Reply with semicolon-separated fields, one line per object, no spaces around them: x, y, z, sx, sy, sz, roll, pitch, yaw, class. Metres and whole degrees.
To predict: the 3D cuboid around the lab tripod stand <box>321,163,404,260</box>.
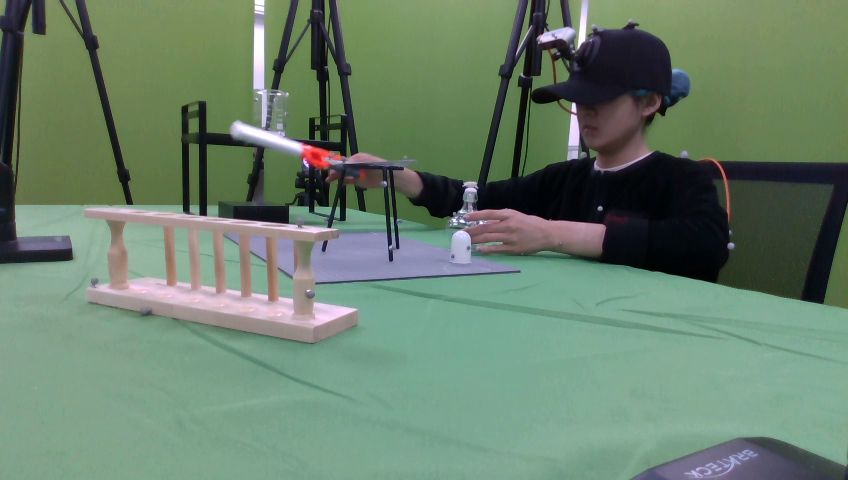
-0.075;-0.045;0.884;0.148;0.131;0.148;2;5;0;lab tripod stand

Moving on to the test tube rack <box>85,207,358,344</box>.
-0.177;0.022;0.518;0.241;0.085;0.067;6;7;23;test tube rack

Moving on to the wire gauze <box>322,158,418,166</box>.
-0.081;-0.112;0.877;0.122;0.011;0.124;0;6;-18;wire gauze

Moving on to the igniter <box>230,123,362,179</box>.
-0.229;-0.163;1.134;0.278;0.025;0.057;14;36;-43;igniter

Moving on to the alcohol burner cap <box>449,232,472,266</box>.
0.052;0.012;0.843;0.034;0.048;0.034;2;6;0;alcohol burner cap

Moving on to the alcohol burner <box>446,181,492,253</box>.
0.075;-0.039;0.999;0.078;0.119;0.078;4;9;0;alcohol burner

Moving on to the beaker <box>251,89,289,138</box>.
-0.334;-0.273;1.316;0.084;0.100;0.074;6;8;15;beaker
